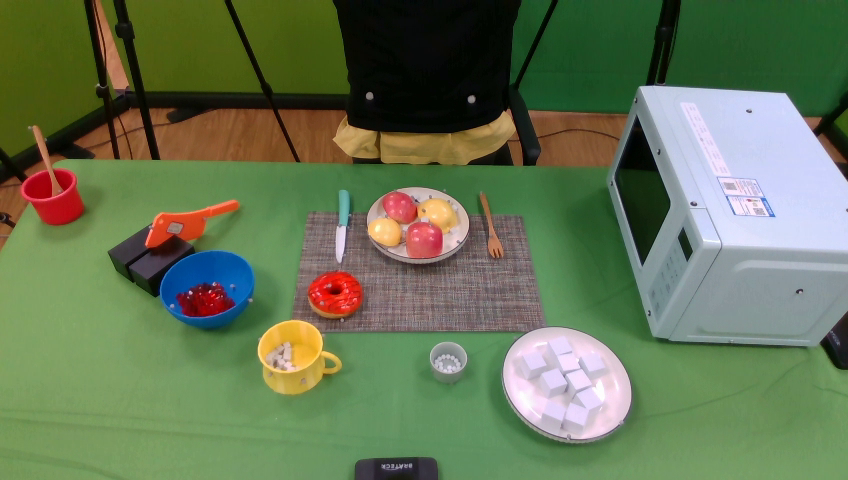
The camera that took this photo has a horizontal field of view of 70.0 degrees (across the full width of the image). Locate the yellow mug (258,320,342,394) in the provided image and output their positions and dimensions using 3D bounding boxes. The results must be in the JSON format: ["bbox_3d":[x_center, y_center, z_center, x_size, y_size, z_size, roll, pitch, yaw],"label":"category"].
[{"bbox_3d":[-0.196,0.189,0.971,0.131,0.064,0.099,9,46,4],"label":"yellow mug"}]

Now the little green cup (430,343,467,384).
[{"bbox_3d":[0.039,0.203,0.993,0.061,0.039,0.061,2,46,-2],"label":"little green cup"}]

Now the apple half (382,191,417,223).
[{"bbox_3d":[-0.043,-0.072,1.225,0.081,0.033,0.081,19,41,-17],"label":"apple half"}]

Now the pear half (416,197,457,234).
[{"bbox_3d":[0.017,-0.065,1.226,0.076,0.056,0.109,-27,51,-32],"label":"pear half"}]

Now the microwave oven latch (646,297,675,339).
[{"bbox_3d":[0.412,0.134,1.061,0.030,0.029,0.078,4,45,1],"label":"microwave oven latch"}]

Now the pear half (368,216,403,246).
[{"bbox_3d":[-0.070,-0.026,1.183,0.070,0.031,0.087,33,46,0],"label":"pear half"}]

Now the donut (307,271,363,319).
[{"bbox_3d":[-0.157,0.097,1.072,0.099,0.048,0.098,4,45,-4],"label":"donut"}]

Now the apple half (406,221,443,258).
[{"bbox_3d":[0.001,-0.006,1.164,0.075,0.053,0.080,5,42,-1],"label":"apple half"}]

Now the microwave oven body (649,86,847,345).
[{"bbox_3d":[0.567,-0.053,1.118,0.326,0.261,0.439,2,45,-1],"label":"microwave oven body"}]

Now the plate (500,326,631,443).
[{"bbox_3d":[0.224,0.234,0.978,0.208,0.039,0.206,2,46,-2],"label":"plate"}]

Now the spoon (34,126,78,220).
[{"bbox_3d":[-0.726,-0.132,1.187,0.041,0.021,0.194,-18,95,-18],"label":"spoon"}]

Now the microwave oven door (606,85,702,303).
[{"bbox_3d":[0.423,-0.094,1.140,0.039,0.245,0.353,2,46,-1],"label":"microwave oven door"}]

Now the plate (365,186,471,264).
[{"bbox_3d":[-0.013,-0.027,1.207,0.209,0.038,0.208,2,46,-2],"label":"plate"}]

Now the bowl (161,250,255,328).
[{"bbox_3d":[-0.362,0.097,1.040,0.151,0.077,0.150,2,45,-2],"label":"bowl"}]

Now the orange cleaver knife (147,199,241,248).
[{"bbox_3d":[-0.435,-0.033,1.157,0.012,0.077,0.211,31,27,19],"label":"orange cleaver knife"}]

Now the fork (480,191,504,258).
[{"bbox_3d":[0.136,-0.035,1.241,0.028,0.019,0.206,-8,46,1],"label":"fork"}]

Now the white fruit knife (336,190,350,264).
[{"bbox_3d":[-0.164,-0.030,1.217,0.027,0.016,0.206,-22,45,19],"label":"white fruit knife"}]
